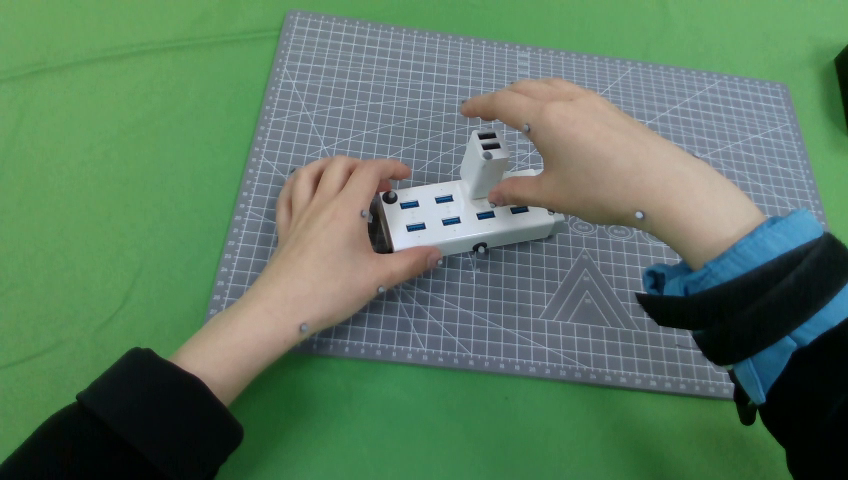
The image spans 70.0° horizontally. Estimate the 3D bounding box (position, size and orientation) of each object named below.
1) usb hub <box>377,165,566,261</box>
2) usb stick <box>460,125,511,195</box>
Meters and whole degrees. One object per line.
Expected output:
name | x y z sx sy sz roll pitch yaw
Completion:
usb hub | 0.033 -0.021 0.428 0.125 0.025 0.049 -10 63 -13
usb stick | 0.039 -0.049 0.410 0.021 0.059 0.027 -7 60 -14
